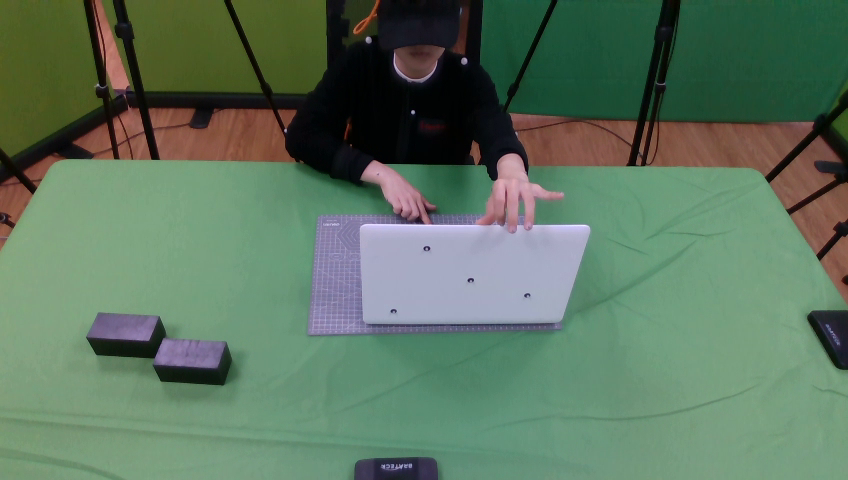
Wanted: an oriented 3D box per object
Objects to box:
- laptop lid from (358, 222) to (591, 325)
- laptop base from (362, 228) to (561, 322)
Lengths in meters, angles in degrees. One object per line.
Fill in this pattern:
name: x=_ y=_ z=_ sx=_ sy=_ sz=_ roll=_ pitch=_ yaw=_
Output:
laptop lid: x=0.074 y=0.060 z=0.977 sx=0.357 sy=0.243 sz=0.013 roll=1 pitch=44 yaw=-5
laptop base: x=0.064 y=0.063 z=1.142 sx=0.355 sy=0.023 sz=0.234 roll=0 pitch=42 yaw=-4
